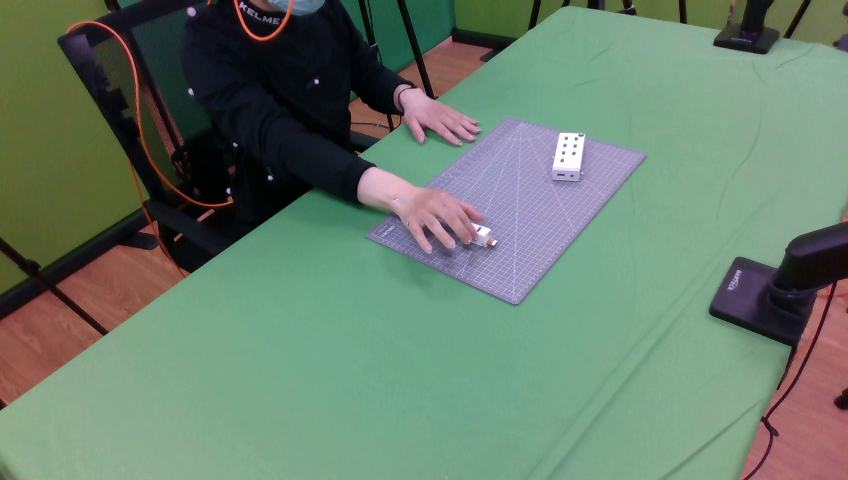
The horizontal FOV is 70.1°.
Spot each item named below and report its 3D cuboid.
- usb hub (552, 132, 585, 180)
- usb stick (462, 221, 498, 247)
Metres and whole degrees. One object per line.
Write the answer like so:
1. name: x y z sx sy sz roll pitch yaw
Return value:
1. usb hub: 0.265 -0.154 1.104 0.049 0.025 0.125 6 43 15
2. usb stick: 0.090 -0.008 0.957 0.059 0.027 0.021 23 48 26
